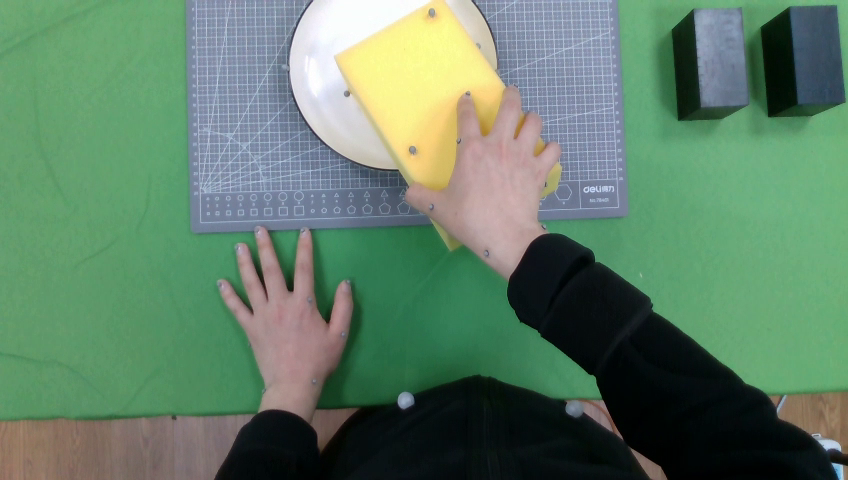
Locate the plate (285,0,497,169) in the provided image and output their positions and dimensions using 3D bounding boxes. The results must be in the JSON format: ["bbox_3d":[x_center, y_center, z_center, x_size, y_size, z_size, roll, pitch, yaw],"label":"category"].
[{"bbox_3d":[-0.031,-0.172,0.613,0.209,0.038,0.208,0,87,-3],"label":"plate"}]

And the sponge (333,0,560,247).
[{"bbox_3d":[0.019,-0.112,0.569,0.118,0.061,0.205,-32,75,-3],"label":"sponge"}]
